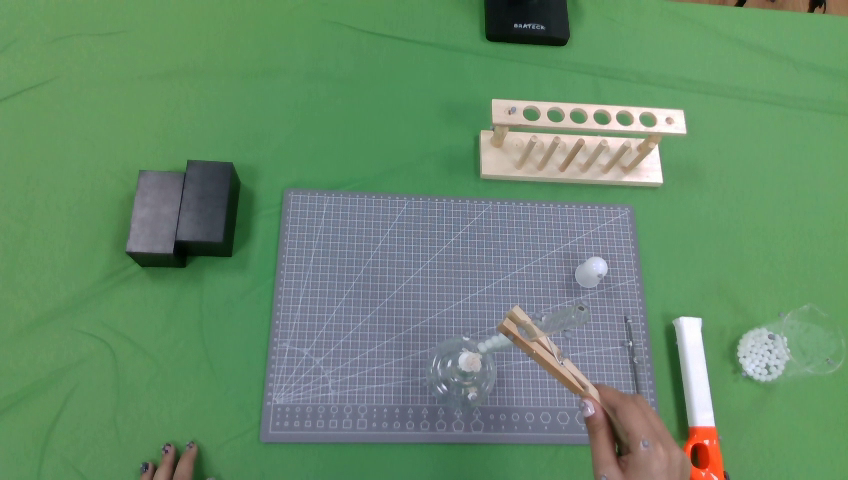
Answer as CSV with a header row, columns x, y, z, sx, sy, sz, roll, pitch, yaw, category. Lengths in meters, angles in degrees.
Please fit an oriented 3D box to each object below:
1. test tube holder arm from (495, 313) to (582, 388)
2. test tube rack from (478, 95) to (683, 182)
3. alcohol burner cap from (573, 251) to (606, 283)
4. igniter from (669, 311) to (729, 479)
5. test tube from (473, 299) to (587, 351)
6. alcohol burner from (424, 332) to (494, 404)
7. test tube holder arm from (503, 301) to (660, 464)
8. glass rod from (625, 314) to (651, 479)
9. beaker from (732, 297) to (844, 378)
x,y,z,sx,sy,sz,roll,pitch,yaw,category
0.096,0.092,0.502,0.088,0.015,0.010,39,62,-3,test tube holder arm
0.196,-0.127,0.773,0.243,0.085,0.066,2,70,-6,test tube rack
0.204,0.031,0.738,0.034,0.048,0.033,2,70,-5,alcohol burner cap
0.315,0.218,0.694,0.057,0.025,0.274,6,70,-15,igniter
0.082,0.073,0.503,0.017,0.150,0.017,9,68,-24,test tube
0.040,0.132,0.645,0.078,0.120,0.077,2,68,-5,alcohol burner
0.132,0.120,0.506,0.178,0.015,0.013,45,63,0,test tube holder arm
0.248,0.183,0.706,0.008,0.008,0.198,2,70,-6,glass rod
0.416,0.116,0.704,0.074,0.101,0.083,15,69,-1,beaker
